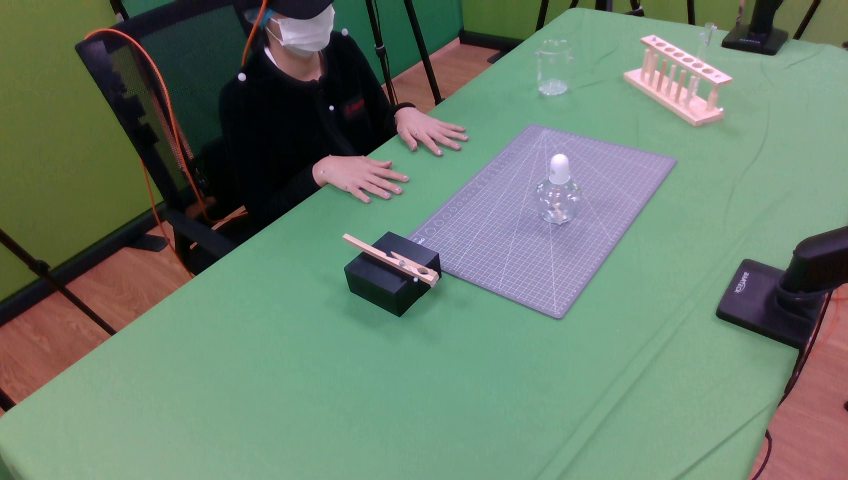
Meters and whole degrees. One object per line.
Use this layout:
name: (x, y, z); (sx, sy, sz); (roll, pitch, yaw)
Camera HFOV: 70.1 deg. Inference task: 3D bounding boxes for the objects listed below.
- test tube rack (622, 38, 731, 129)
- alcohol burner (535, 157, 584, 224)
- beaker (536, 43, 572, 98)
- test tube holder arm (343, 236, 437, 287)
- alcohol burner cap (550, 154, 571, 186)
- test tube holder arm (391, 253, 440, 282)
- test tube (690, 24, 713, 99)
test tube rack: (0.506, -0.325, 1.234); (0.067, 0.085, 0.240); (-18, 41, -11)
alcohol burner: (0.217, -0.085, 0.967); (0.078, 0.119, 0.077); (-3, 41, 3)
beaker: (0.280, -0.368, 1.311); (0.074, 0.101, 0.084); (4, 41, 14)
test tube holder arm: (-0.054, 0.028, 0.879); (0.177, 0.015, 0.013); (22, 57, 32)
alcohol burner cap: (0.212, -0.112, 0.944); (0.034, 0.048, 0.033); (-7, 44, 7)
test tube holder arm: (-0.015, 0.039, 0.858); (0.087, 0.015, 0.010); (22, 57, 32)
test tube: (0.534, -0.342, 1.173); (0.017, 0.151, 0.017); (-3, 41, 3)
